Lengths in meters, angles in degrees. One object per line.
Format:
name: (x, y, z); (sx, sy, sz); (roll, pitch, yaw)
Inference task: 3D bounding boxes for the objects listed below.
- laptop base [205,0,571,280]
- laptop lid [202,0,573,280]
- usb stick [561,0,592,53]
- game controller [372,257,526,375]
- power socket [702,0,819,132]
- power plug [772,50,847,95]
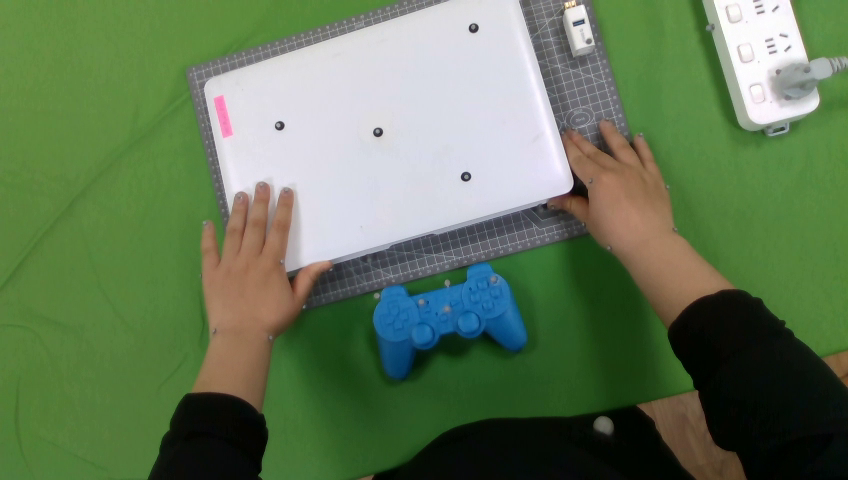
laptop base: (-0.045, -0.114, 0.653); (0.354, 0.023, 0.235); (-16, 89, 5)
laptop lid: (-0.048, -0.114, 0.629); (0.356, 0.013, 0.240); (-15, 81, 6)
usb stick: (0.156, -0.228, 0.629); (0.021, 0.027, 0.059); (-16, 83, 9)
game controller: (0.021, 0.078, 0.624); (0.155, 0.052, 0.096); (-15, 81, 5)
power socket: (0.329, -0.222, 0.608); (0.072, 0.032, 0.226); (-14, 86, 6)
power plug: (0.373, -0.159, 0.581); (0.072, 0.053, 0.035); (-3, 86, 2)
